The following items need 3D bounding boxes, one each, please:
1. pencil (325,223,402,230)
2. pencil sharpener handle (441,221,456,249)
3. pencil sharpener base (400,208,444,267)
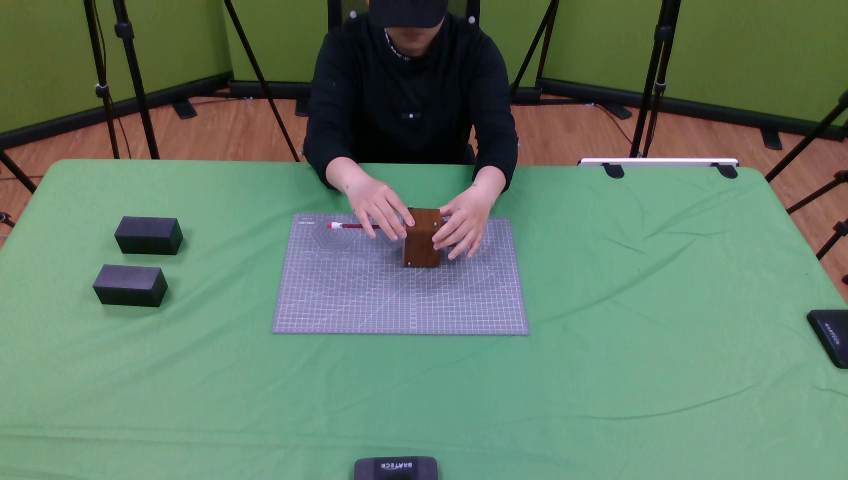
[{"bbox_3d":[-0.084,-0.024,1.112,0.194,0.012,0.012,1,45,-4],"label":"pencil"},{"bbox_3d":[0.047,-0.010,1.131,0.031,0.068,0.036,1,42,-4],"label":"pencil sharpener handle"},{"bbox_3d":[-0.005,-0.003,1.137,0.077,0.107,0.061,1,46,-5],"label":"pencil sharpener base"}]
